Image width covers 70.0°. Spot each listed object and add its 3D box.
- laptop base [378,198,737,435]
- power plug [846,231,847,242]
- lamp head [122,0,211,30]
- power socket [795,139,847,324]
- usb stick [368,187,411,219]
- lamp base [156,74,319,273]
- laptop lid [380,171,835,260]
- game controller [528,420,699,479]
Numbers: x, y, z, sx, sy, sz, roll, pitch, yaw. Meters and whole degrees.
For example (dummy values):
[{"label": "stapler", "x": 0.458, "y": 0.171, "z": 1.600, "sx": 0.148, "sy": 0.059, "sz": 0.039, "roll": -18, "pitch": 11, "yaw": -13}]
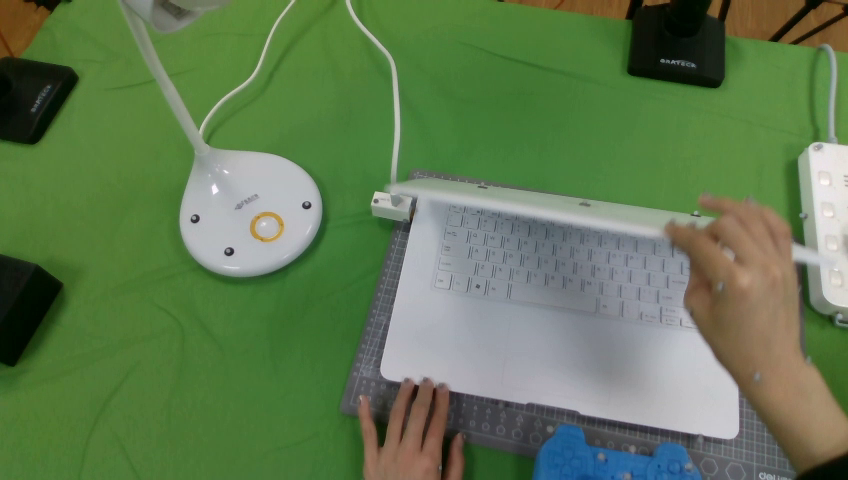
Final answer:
[{"label": "laptop base", "x": 0.145, "y": 0.060, "z": 0.645, "sx": 0.354, "sy": 0.023, "sz": 0.234, "roll": 8, "pitch": 68, "yaw": 6}, {"label": "power plug", "x": 0.480, "y": 0.005, "z": 0.631, "sx": 0.072, "sy": 0.053, "sz": 0.035, "roll": 20, "pitch": 65, "yaw": 10}, {"label": "lamp head", "x": -0.172, "y": -0.203, "z": 0.355, "sx": 0.123, "sy": 0.112, "sz": 0.112, "roll": 37, "pitch": 68, "yaw": -7}, {"label": "power socket", "x": 0.458, "y": -0.018, "z": 0.669, "sx": 0.072, "sy": 0.033, "sz": 0.225, "roll": 10, "pitch": 64, "yaw": 5}, {"label": "usb stick", "x": -0.032, "y": -0.040, "z": 0.685, "sx": 0.059, "sy": 0.027, "sz": 0.021, "roll": 13, "pitch": 60, "yaw": 5}, {"label": "lamp base", "x": -0.213, "y": -0.077, "z": 0.632, "sx": 0.178, "sy": 0.182, "sz": 0.160, "roll": 36, "pitch": 69, "yaw": 21}, {"label": "laptop lid", "x": 0.151, "y": -0.033, "z": 0.575, "sx": 0.356, "sy": 0.241, "sz": 0.013, "roll": 9, "pitch": 100, "yaw": 7}, {"label": "game controller", "x": 0.172, "y": 0.220, "z": 0.548, "sx": 0.155, "sy": 0.052, "sz": 0.096, "roll": 9, "pitch": 62, "yaw": 6}]
